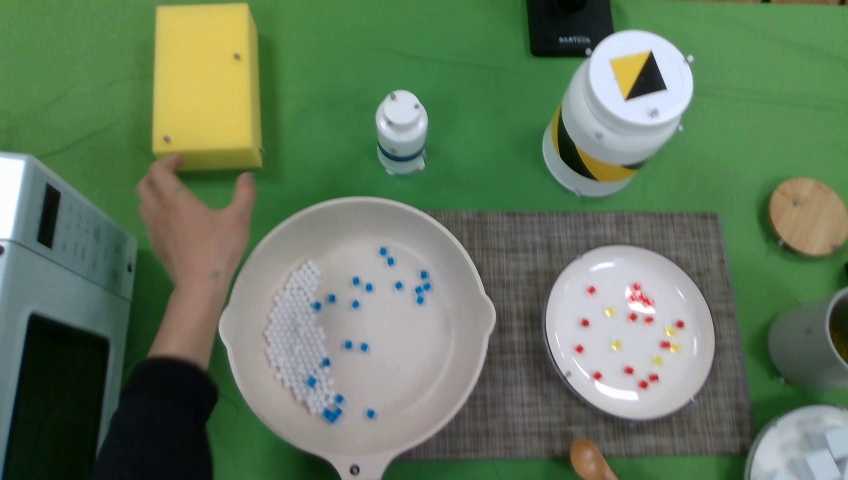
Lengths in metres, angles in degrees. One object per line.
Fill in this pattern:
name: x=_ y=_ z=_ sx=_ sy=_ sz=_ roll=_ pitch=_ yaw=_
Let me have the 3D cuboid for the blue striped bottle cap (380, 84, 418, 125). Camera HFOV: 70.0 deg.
blue striped bottle cap: x=-0.029 y=-0.157 z=0.700 sx=0.044 sy=0.021 sz=0.044 roll=1 pitch=71 yaw=-2

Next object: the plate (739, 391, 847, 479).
plate: x=0.466 y=0.282 z=0.707 sx=0.208 sy=0.039 sz=0.206 roll=1 pitch=74 yaw=-3

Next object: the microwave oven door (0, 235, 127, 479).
microwave oven door: x=-0.354 y=0.197 z=0.550 sx=0.039 sy=0.245 sz=0.353 roll=0 pitch=74 yaw=-3

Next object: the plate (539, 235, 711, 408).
plate: x=0.241 y=0.097 z=0.739 sx=0.209 sy=0.038 sz=0.208 roll=1 pitch=74 yaw=-3

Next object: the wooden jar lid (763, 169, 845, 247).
wooden jar lid: x=0.504 y=-0.041 z=0.810 sx=0.108 sy=0.021 sz=0.108 roll=1 pitch=76 yaw=-3

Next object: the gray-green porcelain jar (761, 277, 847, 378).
gray-green porcelain jar: x=0.473 y=0.106 z=0.710 sx=0.106 sy=0.127 sz=0.105 roll=1 pitch=74 yaw=-3

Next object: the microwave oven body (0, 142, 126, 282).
microwave oven body: x=-0.500 y=0.156 z=0.557 sx=0.326 sy=0.261 sz=0.439 roll=1 pitch=75 yaw=-4

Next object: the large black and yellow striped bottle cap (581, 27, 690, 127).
large black and yellow striped bottle cap: x=0.228 y=-0.178 z=0.655 sx=0.115 sy=0.019 sz=0.114 roll=1 pitch=73 yaw=-3

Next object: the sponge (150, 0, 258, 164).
sponge: x=-0.281 y=-0.206 z=0.781 sx=0.118 sy=0.061 sz=0.205 roll=-5 pitch=75 yaw=-6

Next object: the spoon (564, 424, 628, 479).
spoon: x=0.231 y=0.280 z=0.685 sx=0.193 sy=0.022 sz=0.041 roll=40 pitch=53 yaw=5

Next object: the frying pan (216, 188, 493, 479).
frying pan: x=-0.074 y=0.181 z=0.661 sx=0.307 sy=0.103 sz=0.484 roll=-1 pitch=66 yaw=-2

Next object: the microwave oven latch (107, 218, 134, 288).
microwave oven latch: x=-0.359 y=0.015 z=0.706 sx=0.030 sy=0.029 sz=0.078 roll=3 pitch=75 yaw=-3

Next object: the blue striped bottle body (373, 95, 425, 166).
blue striped bottle body: x=-0.031 y=-0.143 z=0.749 sx=0.063 sy=0.121 sz=0.062 roll=1 pitch=74 yaw=-3

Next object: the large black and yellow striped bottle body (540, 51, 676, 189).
large black and yellow striped bottle body: x=0.224 y=-0.153 z=0.738 sx=0.131 sy=0.185 sz=0.130 roll=1 pitch=73 yaw=-3
